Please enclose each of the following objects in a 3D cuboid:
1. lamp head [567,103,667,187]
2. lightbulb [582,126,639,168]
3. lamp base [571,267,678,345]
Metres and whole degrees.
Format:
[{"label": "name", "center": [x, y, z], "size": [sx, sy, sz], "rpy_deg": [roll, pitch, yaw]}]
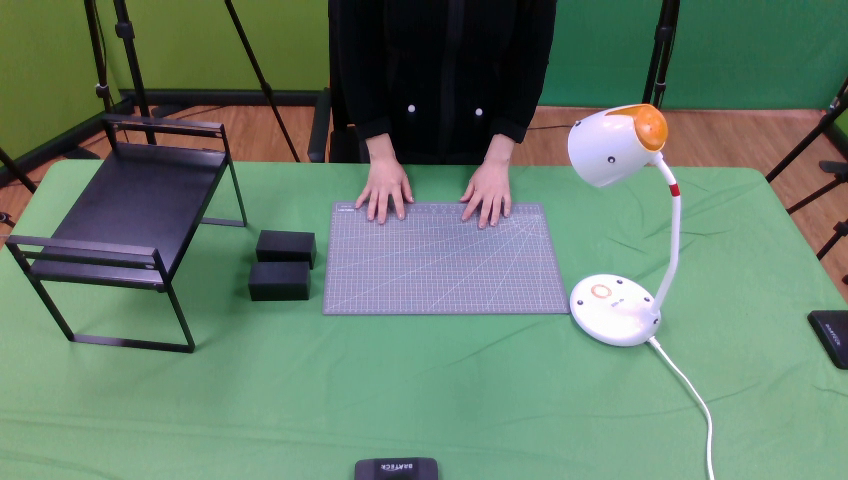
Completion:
[{"label": "lamp head", "center": [0.289, -0.142, 0.876], "size": [0.113, 0.122, 0.112], "rpy_deg": [5, 81, -30]}, {"label": "lightbulb", "center": [0.279, -0.143, 0.899], "size": [0.060, 0.107, 0.059], "rpy_deg": [3, 81, -20]}, {"label": "lamp base", "center": [0.359, 0.077, 1.038], "size": [0.160, 0.181, 0.178], "rpy_deg": [-34, 59, -30]}]
